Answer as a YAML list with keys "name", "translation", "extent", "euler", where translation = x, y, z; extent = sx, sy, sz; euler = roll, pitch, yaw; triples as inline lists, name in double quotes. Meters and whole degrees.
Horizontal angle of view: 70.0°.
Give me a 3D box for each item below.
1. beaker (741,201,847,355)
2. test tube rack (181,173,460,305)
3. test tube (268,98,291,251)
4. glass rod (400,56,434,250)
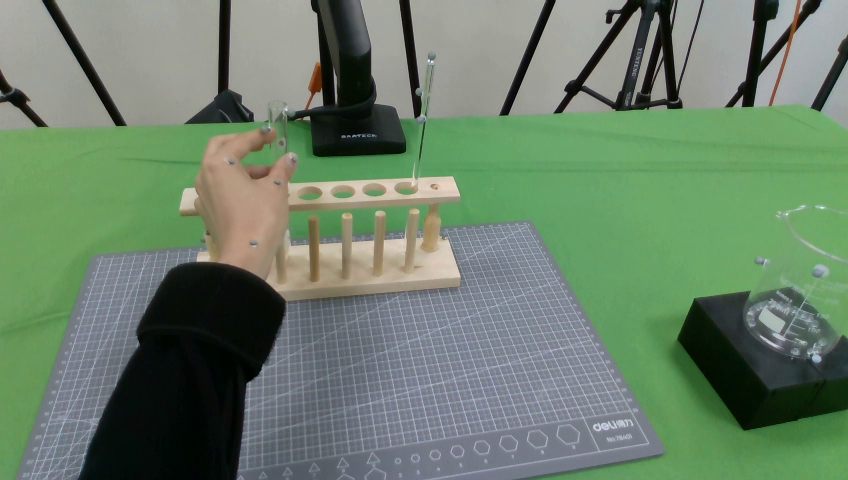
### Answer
- name: "beaker"
  translation: [0.292, 0.030, 0.462]
  extent: [0.074, 0.101, 0.083]
  euler: [-27, 47, -34]
- name: "test tube rack"
  translation: [-0.088, -0.003, 0.557]
  extent: [0.243, 0.086, 0.066]
  euler: [-4, 38, -10]
- name: "test tube"
  translation: [-0.126, -0.052, 0.531]
  extent: [0.017, 0.151, 0.017]
  euler: [5, 35, -3]
- name: "glass rod"
  translation: [-0.009, -0.067, 0.538]
  extent: [0.008, 0.201, 0.008]
  euler: [6, 40, -5]
